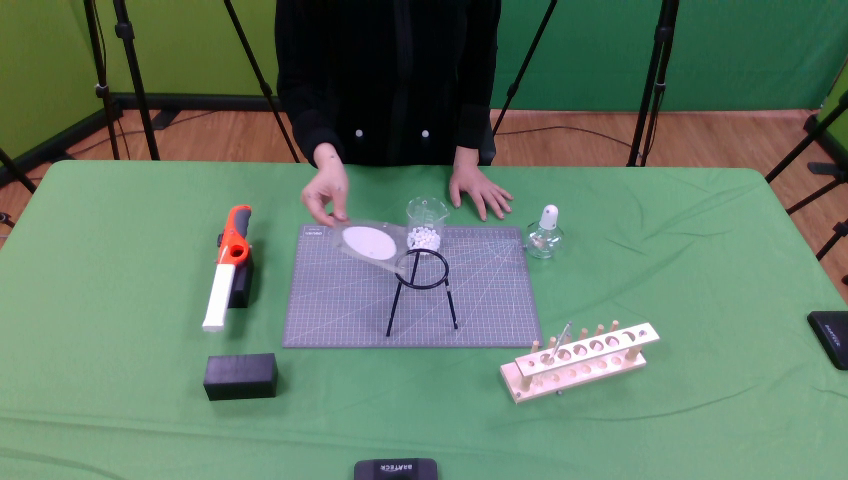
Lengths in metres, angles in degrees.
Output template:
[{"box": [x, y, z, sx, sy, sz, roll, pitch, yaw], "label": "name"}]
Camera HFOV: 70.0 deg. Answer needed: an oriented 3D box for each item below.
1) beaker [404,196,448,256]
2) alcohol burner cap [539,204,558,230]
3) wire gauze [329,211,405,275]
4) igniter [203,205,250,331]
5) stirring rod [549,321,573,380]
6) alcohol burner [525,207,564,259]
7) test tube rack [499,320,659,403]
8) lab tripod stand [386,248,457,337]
[{"box": [0.001, -0.024, 1.164, 0.084, 0.101, 0.073, 6, 47, 0], "label": "beaker"}, {"box": [0.239, -0.045, 1.148, 0.034, 0.048, 0.033, 2, 42, -1], "label": "alcohol burner cap"}, {"box": [-0.088, -0.001, 0.948, 0.125, 0.011, 0.121, 17, 30, -12], "label": "wire gauze"}, {"box": [-0.345, 0.039, 1.065, 0.057, 0.025, 0.274, 2, 49, -6], "label": "igniter"}, {"box": [0.202, 0.167, 0.901, 0.006, 0.177, 0.014, -18, 55, -11], "label": "stirring rod"}, {"box": [0.236, -0.020, 1.174, 0.078, 0.120, 0.077, 1, 48, -1], "label": "alcohol burner"}, {"box": [0.252, 0.187, 0.994, 0.243, 0.085, 0.066, -12, 48, -15], "label": "test tube rack"}, {"box": [-0.010, 0.087, 1.032, 0.148, 0.132, 0.147, 1, 45, -1], "label": "lab tripod stand"}]
